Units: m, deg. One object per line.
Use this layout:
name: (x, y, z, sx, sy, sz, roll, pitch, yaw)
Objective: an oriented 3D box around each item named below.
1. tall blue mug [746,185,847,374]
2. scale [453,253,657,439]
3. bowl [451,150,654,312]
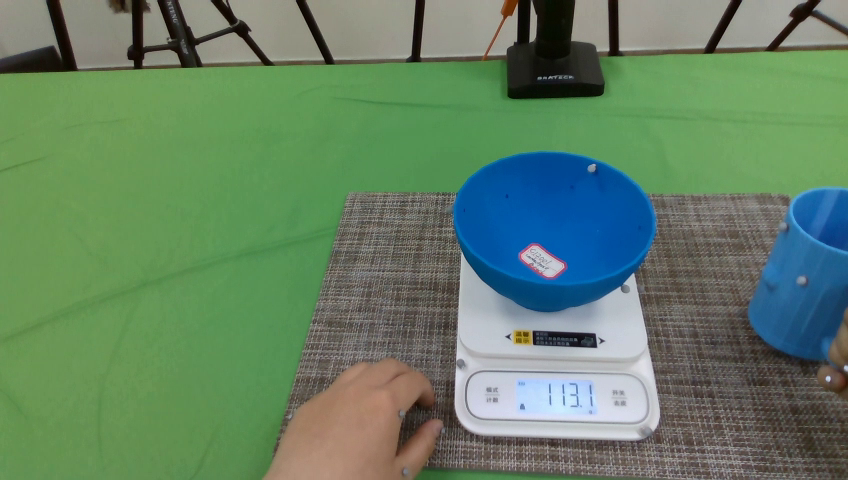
tall blue mug: (0.301, 0.034, 0.439, 0.078, 0.109, 0.106, -21, 44, -17)
scale: (0.101, 0.064, 0.497, 0.148, 0.032, 0.199, 0, 45, 6)
bowl: (0.097, 0.004, 0.481, 0.151, 0.077, 0.150, -2, 45, 2)
